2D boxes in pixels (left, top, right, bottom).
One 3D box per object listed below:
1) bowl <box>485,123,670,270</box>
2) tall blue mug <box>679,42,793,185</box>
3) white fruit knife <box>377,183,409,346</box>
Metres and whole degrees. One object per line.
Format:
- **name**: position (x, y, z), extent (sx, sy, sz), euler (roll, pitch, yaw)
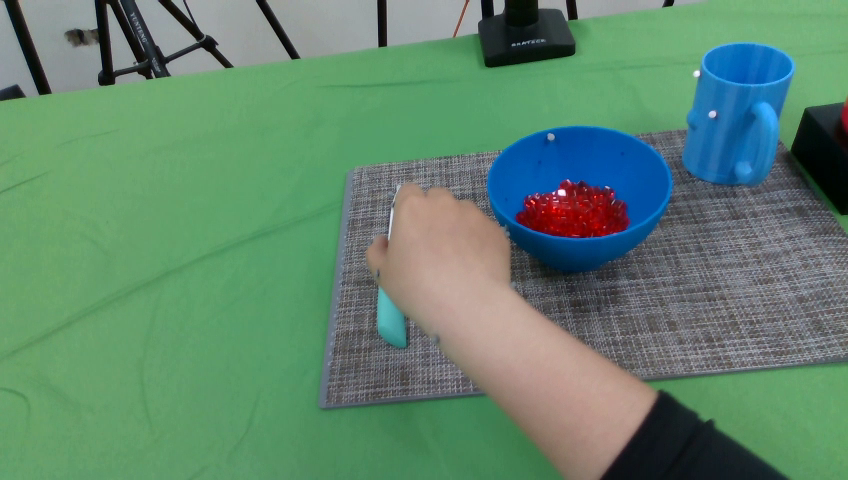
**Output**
- **bowl**: position (0.130, -0.027, 0.531), extent (0.151, 0.077, 0.150), euler (-5, 45, 6)
- **tall blue mug**: position (0.296, -0.110, 0.561), extent (0.078, 0.109, 0.106), euler (-25, 46, -15)
- **white fruit knife**: position (-0.028, 0.012, 0.568), extent (0.027, 0.016, 0.205), euler (16, 41, -15)
